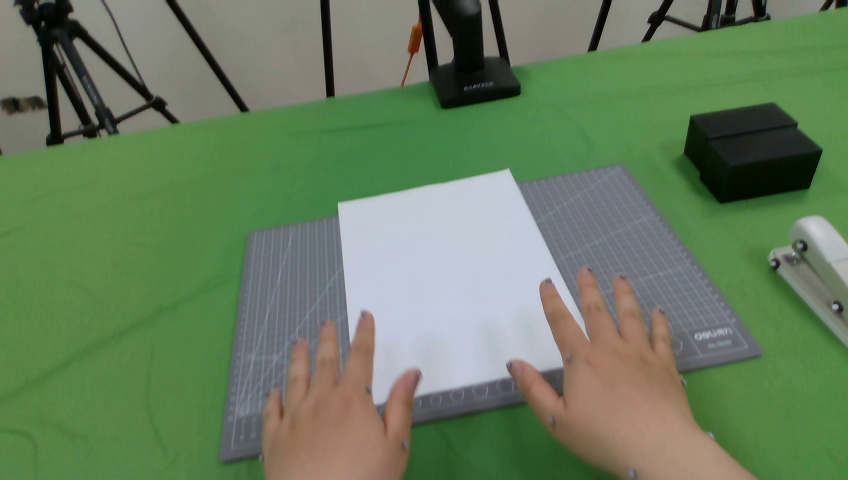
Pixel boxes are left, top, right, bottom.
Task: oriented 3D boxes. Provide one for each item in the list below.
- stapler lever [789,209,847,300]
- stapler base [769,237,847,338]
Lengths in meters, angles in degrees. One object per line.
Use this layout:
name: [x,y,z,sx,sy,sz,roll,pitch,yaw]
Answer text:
stapler lever: [0.355,0.019,0.513,0.027,0.040,0.116,-14,42,-2]
stapler base: [0.357,0.036,0.530,0.041,0.025,0.129,-14,43,-2]
